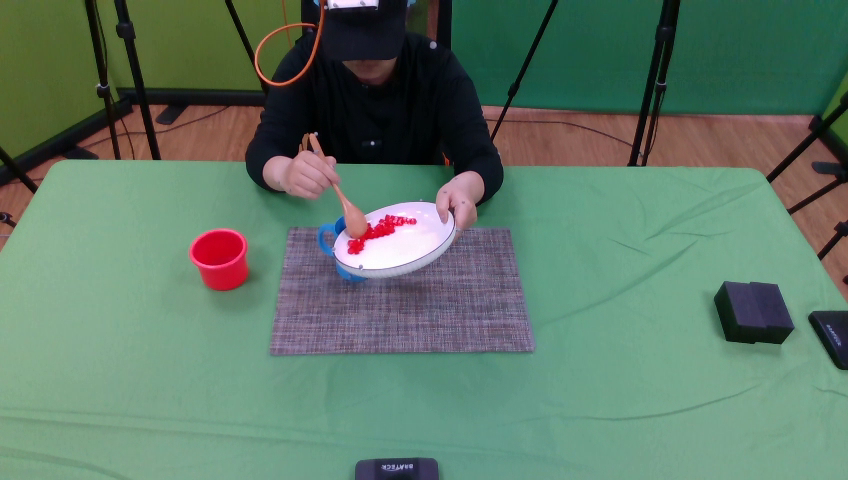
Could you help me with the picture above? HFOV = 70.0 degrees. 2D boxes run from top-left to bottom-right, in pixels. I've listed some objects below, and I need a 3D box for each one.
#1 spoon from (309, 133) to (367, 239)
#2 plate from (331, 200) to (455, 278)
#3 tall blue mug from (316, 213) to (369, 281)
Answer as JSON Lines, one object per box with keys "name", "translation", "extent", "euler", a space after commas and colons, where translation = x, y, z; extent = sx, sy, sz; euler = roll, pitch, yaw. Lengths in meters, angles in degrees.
{"name": "spoon", "translation": [-0.149, -0.091, 1.026], "extent": [0.041, 0.021, 0.194], "euler": [-32, 100, -29]}
{"name": "plate", "translation": [-0.048, 0.002, 0.998], "extent": [0.207, 0.039, 0.206], "euler": [-11, 31, 7]}
{"name": "tall blue mug", "translation": [-0.141, 0.014, 1.109], "extent": [0.107, 0.108, 0.077], "euler": [-4, 48, -9]}
